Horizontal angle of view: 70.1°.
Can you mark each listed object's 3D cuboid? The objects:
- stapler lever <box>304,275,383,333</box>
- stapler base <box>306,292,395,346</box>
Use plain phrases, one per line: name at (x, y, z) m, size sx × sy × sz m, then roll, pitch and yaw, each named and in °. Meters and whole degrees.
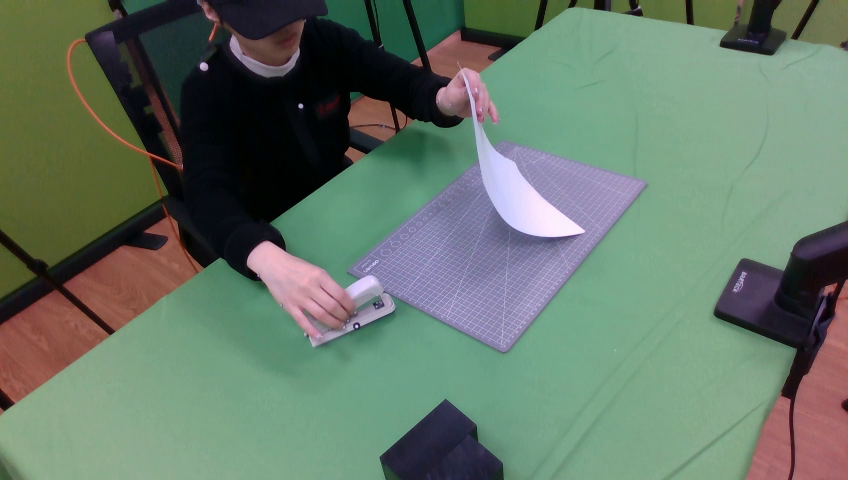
stapler lever at (-0.112, 0.087, 0.842) m, size 0.118 × 0.040 × 0.026 m, roll -24°, pitch 39°, yaw -11°
stapler base at (-0.106, 0.105, 0.859) m, size 0.131 × 0.024 × 0.041 m, roll -24°, pitch 39°, yaw -11°
